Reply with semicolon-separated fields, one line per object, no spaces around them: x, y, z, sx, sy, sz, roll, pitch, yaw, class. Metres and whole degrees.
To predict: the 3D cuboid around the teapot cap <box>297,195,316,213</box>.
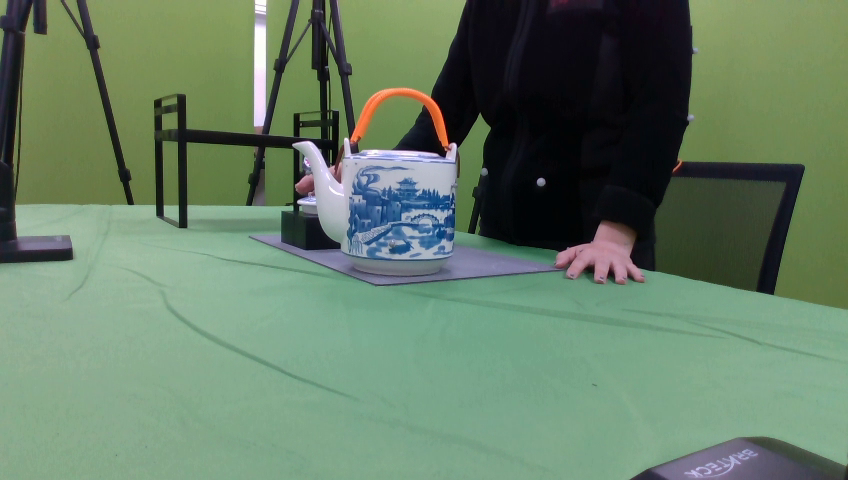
-0.157;-0.065;0.950;0.085;0.044;0.085;-1;10;0;teapot cap

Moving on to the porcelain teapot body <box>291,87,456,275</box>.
-0.061;-0.076;0.753;0.206;0.225;0.145;0;8;-12;porcelain teapot body
